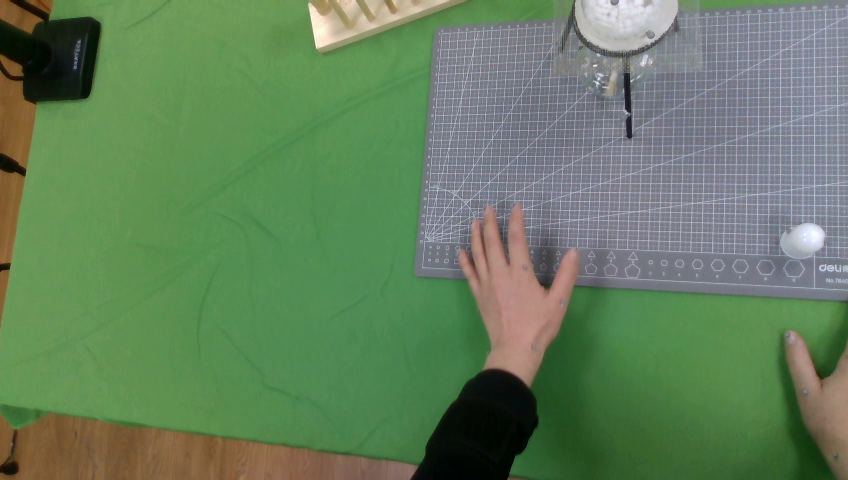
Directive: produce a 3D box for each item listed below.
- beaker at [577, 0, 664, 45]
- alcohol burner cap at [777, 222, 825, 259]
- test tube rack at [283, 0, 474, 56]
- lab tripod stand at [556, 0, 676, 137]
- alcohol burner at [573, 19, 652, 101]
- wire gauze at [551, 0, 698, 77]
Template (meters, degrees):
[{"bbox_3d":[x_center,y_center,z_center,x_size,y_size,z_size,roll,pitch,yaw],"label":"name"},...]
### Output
[{"bbox_3d":[0.156,-0.209,0.486,0.083,0.101,0.074,16,87,19],"label":"beaker"},{"bbox_3d":[0.353,-0.001,0.564,0.034,0.048,0.033,-3,80,16],"label":"alcohol burner cap"},{"bbox_3d":[-0.038,-0.301,0.707,0.242,0.086,0.066,-15,77,14],"label":"test tube rack"},{"bbox_3d":[0.193,-0.190,0.592,0.148,0.132,0.148,-2,82,15],"label":"lab tripod stand"},{"bbox_3d":[0.188,-0.186,0.604,0.077,0.120,0.077,-2,80,15],"label":"alcohol burner"},{"bbox_3d":[0.174,-0.201,0.530,0.125,0.011,0.121,2,85,14],"label":"wire gauze"}]
